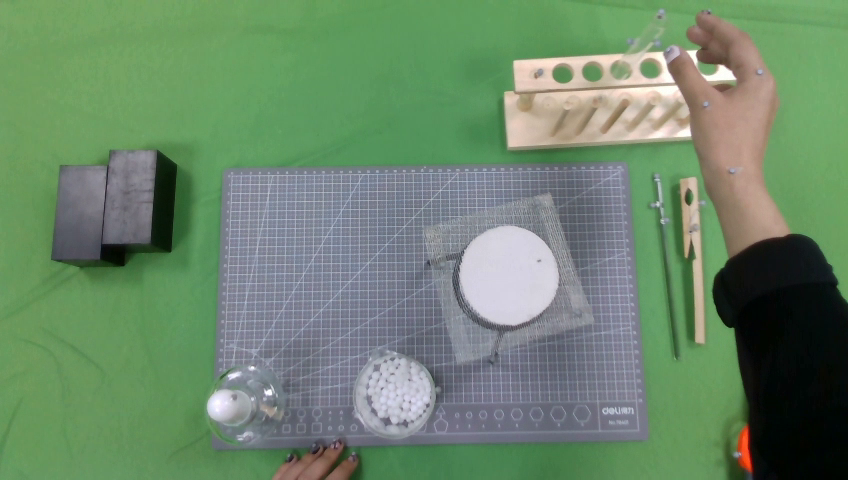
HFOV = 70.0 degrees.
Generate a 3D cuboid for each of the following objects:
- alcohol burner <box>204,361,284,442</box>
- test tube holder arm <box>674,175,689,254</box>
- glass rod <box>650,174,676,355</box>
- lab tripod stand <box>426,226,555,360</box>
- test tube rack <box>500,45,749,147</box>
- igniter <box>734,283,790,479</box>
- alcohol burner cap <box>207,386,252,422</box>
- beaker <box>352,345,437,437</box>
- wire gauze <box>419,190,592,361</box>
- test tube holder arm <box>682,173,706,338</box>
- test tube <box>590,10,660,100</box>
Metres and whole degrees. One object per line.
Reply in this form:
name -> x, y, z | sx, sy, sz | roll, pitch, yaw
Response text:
alcohol burner -> -0.176, 0.154, 0.578 | 0.078, 0.119, 0.077 | 0, 77, 1
test tube holder arm -> 0.284, -0.028, 0.664 | 0.010, 0.015, 0.087 | -8, 78, 34
glass rod -> 0.258, 0.024, 0.658 | 0.008, 0.008, 0.199 | -2, 79, -1
lab tripod stand -> 0.065, 0.043, 0.589 | 0.148, 0.132, 0.148 | 0, 80, 2
test tube rack -> 0.209, -0.152, 0.651 | 0.242, 0.085, 0.066 | -4, 79, -1
igniter -> 0.349, 0.181, 0.622 | 0.057, 0.025, 0.275 | 12, 80, -8
alcohol burner cap -> -0.177, 0.145, 0.544 | 0.034, 0.048, 0.033 | 1, 70, -1
beaker -> -0.028, 0.143, 0.589 | 0.074, 0.100, 0.083 | -23, 79, -4
wire gauze -> 0.069, 0.028, 0.523 | 0.121, 0.011, 0.124 | -16, 80, -2
test tube holder arm -> 0.291, 0.016, 0.653 | 0.013, 0.015, 0.177 | -9, 78, 34
test tube -> 0.196, -0.179, 0.605 | 0.017, 0.150, 0.017 | 1, 77, -4
